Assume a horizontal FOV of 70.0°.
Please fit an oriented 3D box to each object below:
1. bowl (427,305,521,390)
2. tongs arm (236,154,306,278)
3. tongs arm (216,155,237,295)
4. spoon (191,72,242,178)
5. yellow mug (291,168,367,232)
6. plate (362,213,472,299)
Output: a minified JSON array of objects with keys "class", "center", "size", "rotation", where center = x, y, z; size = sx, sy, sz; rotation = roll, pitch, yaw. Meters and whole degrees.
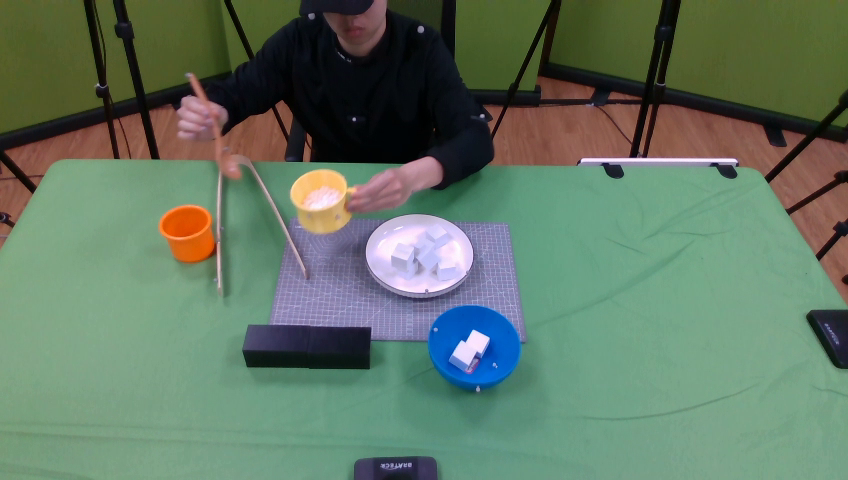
[{"class":"bowl","center":[0.076,0.188,0.985],"size":[0.151,0.077,0.150],"rotation":[3,46,-3]},{"class":"tongs arm","center":[-0.311,-0.059,1.223],"size":[0.028,0.028,0.385],"rotation":[-22,50,-18]},{"class":"tongs arm","center":[-0.387,-0.044,1.200],"size":[0.051,0.026,0.382],"rotation":[-9,46,-12]},{"class":"spoon","center":[-0.363,-0.199,1.060],"size":[0.021,0.194,0.041],"rotation":[-11,14,24]},{"class":"yellow mug","center":[-0.168,-0.075,1.093],"size":[0.131,0.064,0.099],"rotation":[-4,51,0]},{"class":"plate","center":[-0.014,0.034,1.150],"size":[0.208,0.039,0.206],"rotation":[2,46,-2]}]
